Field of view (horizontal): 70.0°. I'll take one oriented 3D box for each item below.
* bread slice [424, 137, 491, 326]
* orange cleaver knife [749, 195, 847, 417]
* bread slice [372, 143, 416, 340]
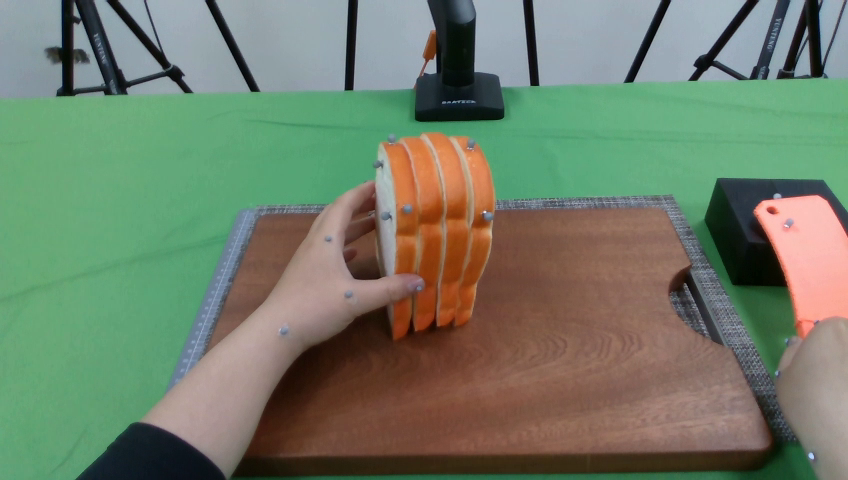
[{"bbox_3d":[0.025,-0.012,0.479,0.019,0.132,0.103,-3,41,-15],"label":"bread slice"},{"bbox_3d":[0.313,0.041,0.480,0.077,0.012,0.209,7,52,5],"label":"orange cleaver knife"},{"bbox_3d":[-0.025,-0.007,0.474,0.018,0.135,0.106,-6,36,-12],"label":"bread slice"}]
